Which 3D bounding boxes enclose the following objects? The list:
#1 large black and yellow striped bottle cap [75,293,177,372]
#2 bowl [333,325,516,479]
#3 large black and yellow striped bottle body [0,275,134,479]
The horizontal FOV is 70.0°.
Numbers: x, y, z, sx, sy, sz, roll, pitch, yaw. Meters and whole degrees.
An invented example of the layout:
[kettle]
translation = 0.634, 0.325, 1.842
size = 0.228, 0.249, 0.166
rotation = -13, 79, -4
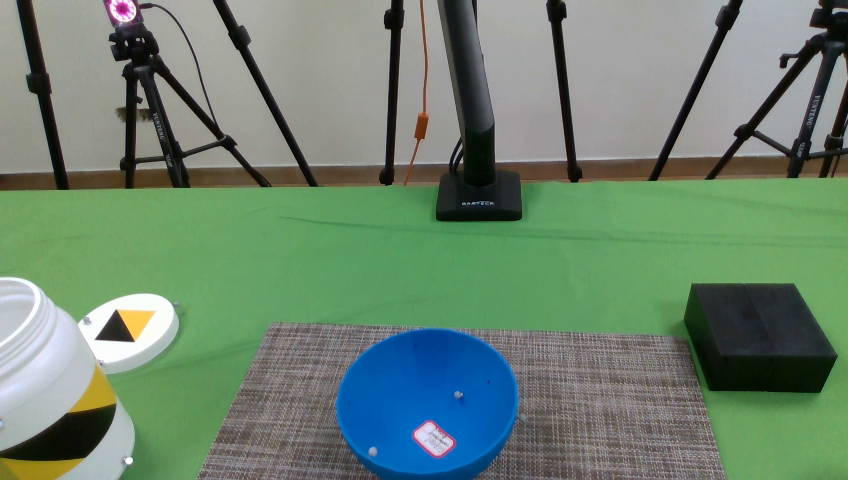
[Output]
[large black and yellow striped bottle cap]
translation = -0.342, 0.102, 0.688
size = 0.115, 0.019, 0.114
rotation = -2, 36, 2
[bowl]
translation = 0.003, 0.153, 0.518
size = 0.151, 0.077, 0.150
rotation = -3, 36, 2
[large black and yellow striped bottle body]
translation = -0.338, 0.133, 0.502
size = 0.131, 0.185, 0.129
rotation = -3, 36, 3
